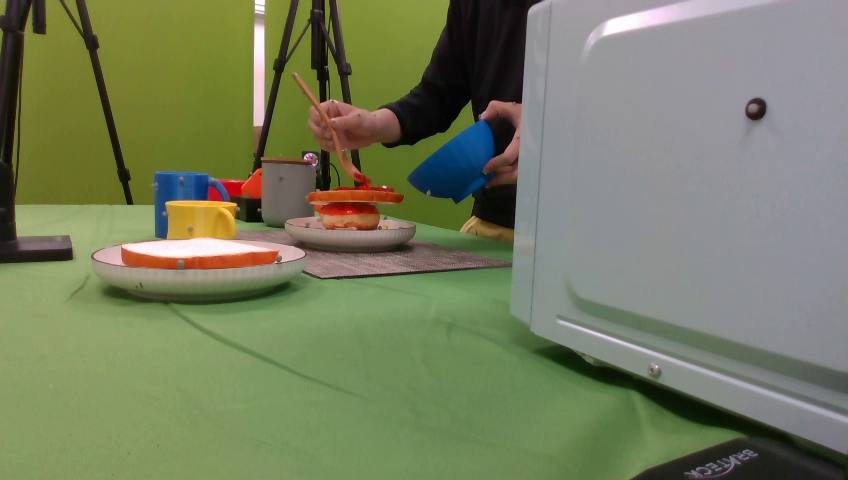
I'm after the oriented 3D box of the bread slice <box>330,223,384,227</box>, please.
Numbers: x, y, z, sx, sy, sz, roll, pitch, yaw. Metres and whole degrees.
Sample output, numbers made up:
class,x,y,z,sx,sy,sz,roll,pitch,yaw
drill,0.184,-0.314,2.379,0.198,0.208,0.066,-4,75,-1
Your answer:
class,x,y,z,sx,sy,sz,roll,pitch,yaw
bread slice,-0.103,-0.011,0.962,0.131,0.019,0.105,5,9,24

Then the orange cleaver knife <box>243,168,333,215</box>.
class,x,y,z,sx,sy,sz,roll,pitch,yaw
orange cleaver knife,-0.300,-0.089,1.351,0.212,0.077,0.012,28,-9,-34

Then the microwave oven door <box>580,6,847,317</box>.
class,x,y,z,sx,sy,sz,roll,pitch,yaw
microwave oven door,0.295,-0.067,0.570,0.358,0.243,0.039,-3,9,-31

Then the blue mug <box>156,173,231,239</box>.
class,x,y,z,sx,sy,sz,roll,pitch,yaw
blue mug,-0.381,-0.057,1.004,0.117,0.106,0.082,0,8,-12

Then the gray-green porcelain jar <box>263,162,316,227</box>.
class,x,y,z,sx,sy,sz,roll,pitch,yaw
gray-green porcelain jar,-0.271,-0.092,1.217,0.106,0.126,0.106,2,7,0

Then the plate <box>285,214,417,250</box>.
class,x,y,z,sx,sy,sz,roll,pitch,yaw
plate,-0.116,-0.014,0.964,0.209,0.038,0.209,2,7,0

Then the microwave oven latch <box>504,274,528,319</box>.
class,x,y,z,sx,sy,sz,roll,pitch,yaw
microwave oven latch,0.100,0.041,0.471,0.079,0.029,0.030,-1,7,-28

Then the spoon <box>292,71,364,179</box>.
class,x,y,z,sx,sy,sz,roll,pitch,yaw
spoon,-0.149,-0.177,0.937,0.021,0.194,0.041,-25,9,19

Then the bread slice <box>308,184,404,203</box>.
class,x,y,z,sx,sy,sz,roll,pitch,yaw
bread slice,-0.114,-0.072,0.953,0.134,0.018,0.107,-3,-1,22

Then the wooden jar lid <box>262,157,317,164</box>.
class,x,y,z,sx,sy,sz,roll,pitch,yaw
wooden jar lid,-0.269,-0.154,1.208,0.108,0.020,0.108,3,4,0

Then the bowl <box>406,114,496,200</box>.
class,x,y,z,sx,sy,sz,roll,pitch,yaw
bowl,0.056,-0.112,0.913,0.151,0.077,0.151,-37,-1,0

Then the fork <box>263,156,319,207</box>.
class,x,y,z,sx,sy,sz,roll,pitch,yaw
fork,-0.331,-0.144,1.505,0.207,0.018,0.028,-42,-21,22

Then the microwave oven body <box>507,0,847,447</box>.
class,x,y,z,sx,sy,sz,roll,pitch,yaw
microwave oven body,0.331,-0.042,0.425,0.444,0.260,0.324,-2,8,-31

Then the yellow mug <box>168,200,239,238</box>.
class,x,y,z,sx,sy,sz,roll,pitch,yaw
yellow mug,-0.320,-0.023,0.904,0.130,0.064,0.100,9,11,36

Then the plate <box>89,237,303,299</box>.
class,x,y,z,sx,sy,sz,roll,pitch,yaw
plate,-0.233,0.029,0.637,0.208,0.039,0.207,2,7,0
